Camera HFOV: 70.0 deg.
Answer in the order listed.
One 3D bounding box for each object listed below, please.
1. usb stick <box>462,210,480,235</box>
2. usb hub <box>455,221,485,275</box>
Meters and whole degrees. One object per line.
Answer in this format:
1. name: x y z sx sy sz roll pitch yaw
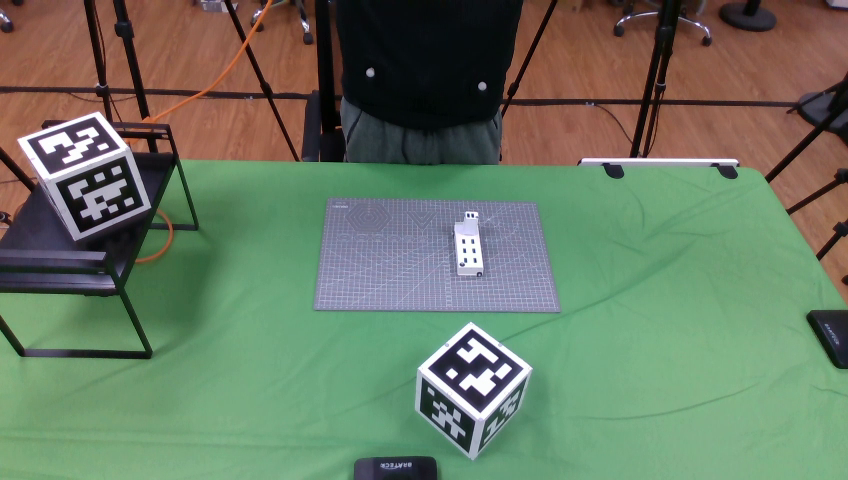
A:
1. usb stick: 0.091 -0.038 1.168 0.027 0.059 0.021 -25 61 -19
2. usb hub: 0.088 0.014 1.177 0.049 0.025 0.124 0 46 -3
